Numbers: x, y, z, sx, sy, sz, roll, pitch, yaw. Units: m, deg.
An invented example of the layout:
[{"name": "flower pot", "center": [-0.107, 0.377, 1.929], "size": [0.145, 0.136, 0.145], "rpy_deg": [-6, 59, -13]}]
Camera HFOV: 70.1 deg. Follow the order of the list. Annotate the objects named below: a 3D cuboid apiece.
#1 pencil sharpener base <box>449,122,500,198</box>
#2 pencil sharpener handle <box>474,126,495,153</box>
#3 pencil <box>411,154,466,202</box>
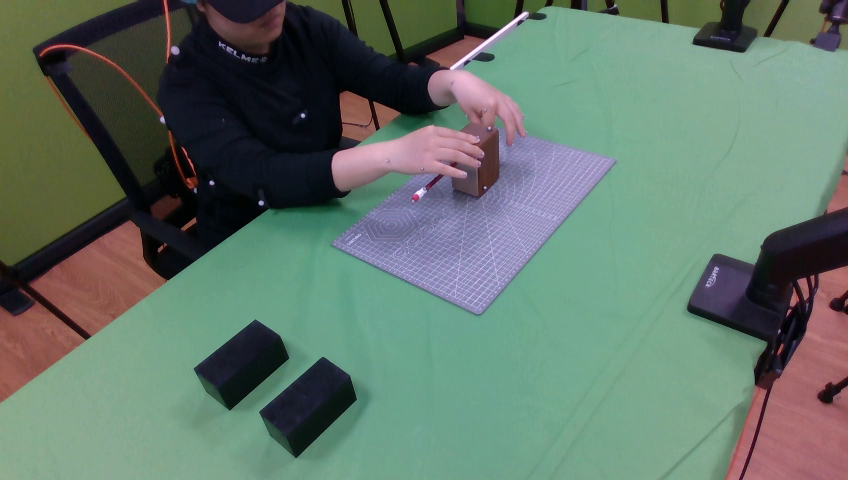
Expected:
[{"name": "pencil sharpener base", "center": [0.090, -0.140, 1.052], "size": [0.061, 0.107, 0.077], "rpy_deg": [20, 47, 29]}, {"name": "pencil sharpener handle", "center": [0.111, -0.182, 1.077], "size": [0.036, 0.067, 0.031], "rpy_deg": [41, 53, 5]}, {"name": "pencil", "center": [0.039, -0.115, 0.987], "size": [0.012, 0.012, 0.194], "rpy_deg": [21, 47, 30]}]
